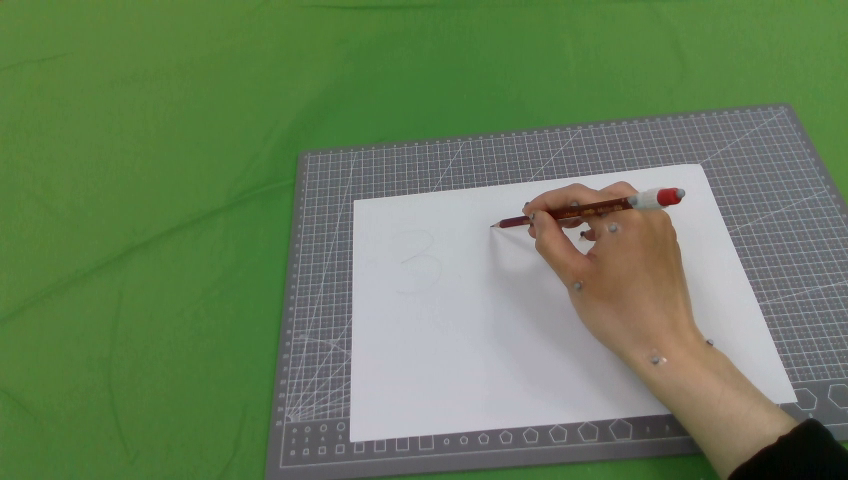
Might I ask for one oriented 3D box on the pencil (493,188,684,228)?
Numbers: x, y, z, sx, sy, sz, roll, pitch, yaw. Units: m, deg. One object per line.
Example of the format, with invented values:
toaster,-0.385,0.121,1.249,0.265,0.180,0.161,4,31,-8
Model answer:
pencil,0.095,-0.018,0.408,0.012,0.193,0.012,1,86,-24
